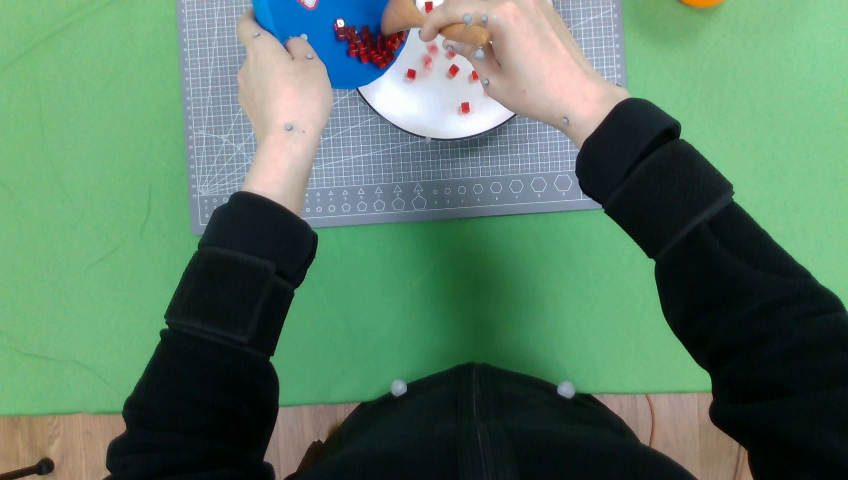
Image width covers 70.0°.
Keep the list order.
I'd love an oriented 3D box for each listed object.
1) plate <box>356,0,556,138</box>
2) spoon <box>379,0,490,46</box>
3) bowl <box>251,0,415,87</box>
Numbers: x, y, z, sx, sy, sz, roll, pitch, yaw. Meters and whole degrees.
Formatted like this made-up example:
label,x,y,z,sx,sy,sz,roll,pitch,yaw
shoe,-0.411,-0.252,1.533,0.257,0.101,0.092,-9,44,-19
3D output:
label,x,y,z,sx,sy,sz,roll,pitch,yaw
plate,0.024,-0.203,0.595,0.209,0.038,0.209,0,91,3
spoon,0.004,-0.164,0.454,0.022,0.191,0.041,23,102,-35
bowl,-0.087,-0.208,0.501,0.076,0.153,0.151,24,92,40
